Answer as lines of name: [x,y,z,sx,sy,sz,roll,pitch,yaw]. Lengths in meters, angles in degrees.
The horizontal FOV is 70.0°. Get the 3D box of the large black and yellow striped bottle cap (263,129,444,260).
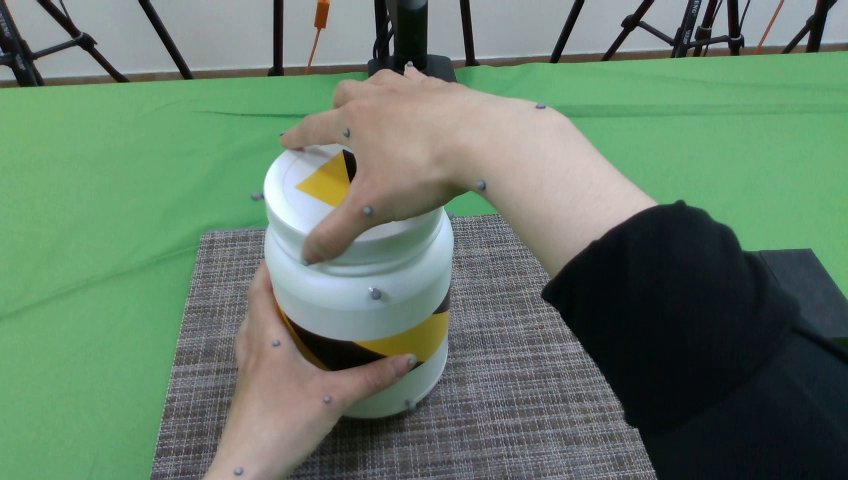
large black and yellow striped bottle cap: [-0.044,-0.033,0.390,0.115,0.019,0.114,2,44,-1]

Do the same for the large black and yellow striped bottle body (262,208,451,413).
large black and yellow striped bottle body: [-0.046,0.030,0.453,0.131,0.185,0.129,1,45,0]
